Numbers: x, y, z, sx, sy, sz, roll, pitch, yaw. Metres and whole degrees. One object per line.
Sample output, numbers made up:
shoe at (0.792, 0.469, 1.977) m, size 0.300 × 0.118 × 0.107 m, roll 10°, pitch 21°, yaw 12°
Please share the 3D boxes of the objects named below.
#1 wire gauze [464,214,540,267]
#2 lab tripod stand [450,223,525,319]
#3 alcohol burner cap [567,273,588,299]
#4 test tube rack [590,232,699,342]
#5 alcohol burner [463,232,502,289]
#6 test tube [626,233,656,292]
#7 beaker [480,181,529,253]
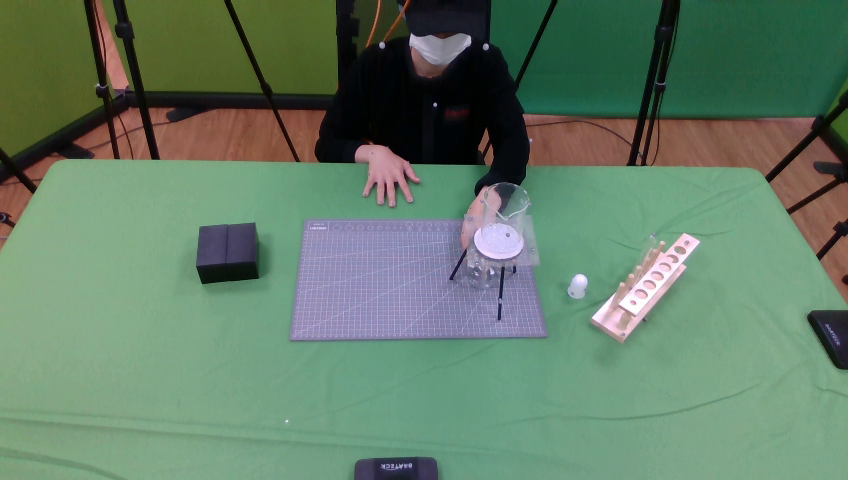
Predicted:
wire gauze at (0.131, -0.001, 1.035) m, size 0.121 × 0.011 × 0.124 m, roll 1°, pitch 44°, yaw -2°
lab tripod stand at (0.120, 0.046, 1.080) m, size 0.148 × 0.132 × 0.147 m, roll 1°, pitch 47°, yaw -1°
alcohol burner cap at (0.287, 0.083, 1.125) m, size 0.034 × 0.048 × 0.033 m, roll 2°, pitch 45°, yaw -1°
test tube rack at (0.407, 0.074, 1.112) m, size 0.066 × 0.085 × 0.242 m, roll 35°, pitch 53°, yaw 26°
alcohol burner at (0.110, 0.033, 1.106) m, size 0.078 × 0.120 × 0.077 m, roll 1°, pitch 44°, yaw 0°
test tube at (0.384, 0.042, 1.079) m, size 0.017 × 0.151 × 0.017 m, roll 1°, pitch 47°, yaw -1°
beaker at (0.130, -0.033, 0.998) m, size 0.074 × 0.101 × 0.083 m, roll 5°, pitch 47°, yaw 4°
